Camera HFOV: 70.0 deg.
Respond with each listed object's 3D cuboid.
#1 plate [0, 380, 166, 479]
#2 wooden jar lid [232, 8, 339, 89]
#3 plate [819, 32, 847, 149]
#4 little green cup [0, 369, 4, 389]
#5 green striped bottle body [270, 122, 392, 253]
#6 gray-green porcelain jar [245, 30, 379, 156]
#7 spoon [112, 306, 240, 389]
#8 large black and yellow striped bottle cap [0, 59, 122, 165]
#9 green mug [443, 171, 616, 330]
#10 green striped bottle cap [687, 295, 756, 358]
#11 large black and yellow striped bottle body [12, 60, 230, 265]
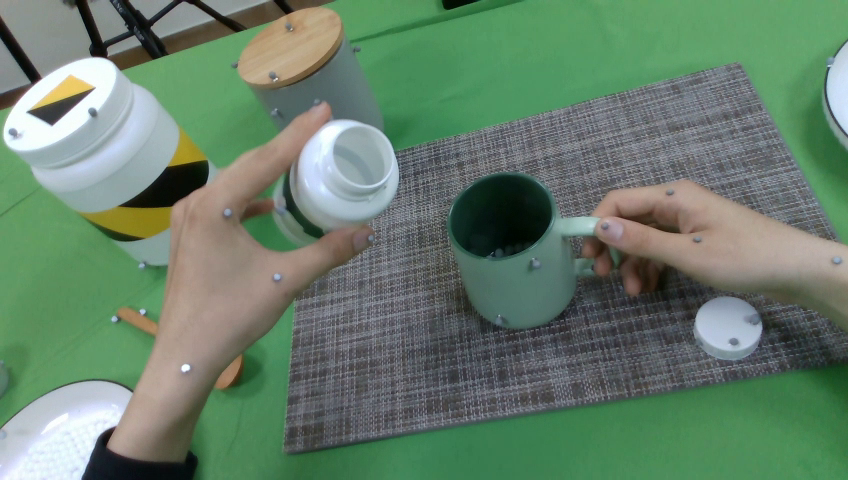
[{"bbox_3d":[-0.302,0.219,0.500,0.209,0.038,0.207,-9,55,13],"label":"plate"},{"bbox_3d":[-0.127,-0.177,0.570,0.108,0.021,0.107,-11,53,16],"label":"wooden jar lid"},{"bbox_3d":[0.424,-0.110,0.469,0.207,0.039,0.205,-9,55,14],"label":"plate"},{"bbox_3d":[-0.459,0.144,0.605,0.061,0.039,0.061,-9,55,13],"label":"little green cup"},{"bbox_3d":[-0.061,-0.033,0.392,0.063,0.119,0.063,5,75,-21],"label":"green striped bottle body"},{"bbox_3d":[-0.109,-0.139,0.617,0.105,0.128,0.105,-10,51,13],"label":"gray-green porcelain jar"},{"bbox_3d":[-0.240,0.092,0.573,0.192,0.022,0.041,17,82,28],"label":"spoon"},{"bbox_3d":[-0.321,-0.115,0.535,0.115,0.019,0.114,-9,54,13],"label":"large black and yellow striped bottle cap"},{"bbox_3d":[0.081,0.008,0.462,0.125,0.106,0.091,-5,55,16],"label":"green mug"},{"bbox_3d":[0.214,0.062,0.437,0.044,0.020,0.044,-10,50,12],"label":"green striped bottle cap"},{"bbox_3d":[-0.297,-0.072,0.602,0.130,0.186,0.129,-9,55,14],"label":"large black and yellow striped bottle body"}]
